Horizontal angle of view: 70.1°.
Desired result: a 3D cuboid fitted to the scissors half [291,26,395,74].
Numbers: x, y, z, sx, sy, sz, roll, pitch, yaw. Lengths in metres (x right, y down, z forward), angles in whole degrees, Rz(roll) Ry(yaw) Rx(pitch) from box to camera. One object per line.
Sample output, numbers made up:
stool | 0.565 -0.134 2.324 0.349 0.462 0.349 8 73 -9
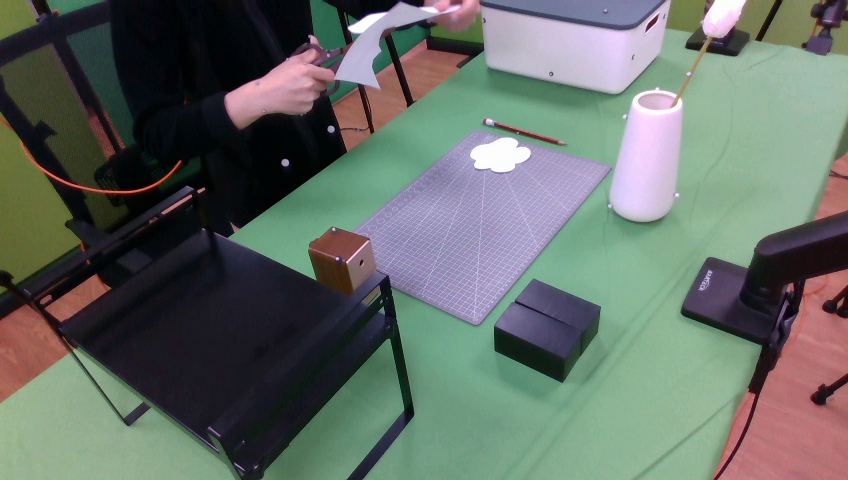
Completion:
scissors half | -0.123 -0.287 0.898 0.174 0.040 0.013 -12 32 17

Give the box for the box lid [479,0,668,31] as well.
box lid | 0.335 -0.536 1.331 0.368 0.015 0.264 23 49 30

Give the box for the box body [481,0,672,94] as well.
box body | 0.341 -0.480 1.381 0.361 0.161 0.255 22 48 30

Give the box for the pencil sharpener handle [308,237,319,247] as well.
pencil sharpener handle | -0.158 0.017 0.892 0.030 0.068 0.036 18 61 28

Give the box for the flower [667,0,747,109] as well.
flower | 0.354 -0.187 0.879 0.038 0.362 0.044 30 48 14

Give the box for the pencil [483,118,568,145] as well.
pencil | 0.201 -0.217 1.212 0.192 0.012 0.012 24 49 29

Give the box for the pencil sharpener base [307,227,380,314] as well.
pencil sharpener base | -0.116 0.043 0.875 0.076 0.107 0.061 18 47 27

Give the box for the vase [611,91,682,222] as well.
vase | 0.348 -0.125 0.935 0.098 0.201 0.097 -3 40 3

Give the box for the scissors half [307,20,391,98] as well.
scissors half | -0.112 -0.271 0.907 0.174 0.040 0.013 -37 18 28
